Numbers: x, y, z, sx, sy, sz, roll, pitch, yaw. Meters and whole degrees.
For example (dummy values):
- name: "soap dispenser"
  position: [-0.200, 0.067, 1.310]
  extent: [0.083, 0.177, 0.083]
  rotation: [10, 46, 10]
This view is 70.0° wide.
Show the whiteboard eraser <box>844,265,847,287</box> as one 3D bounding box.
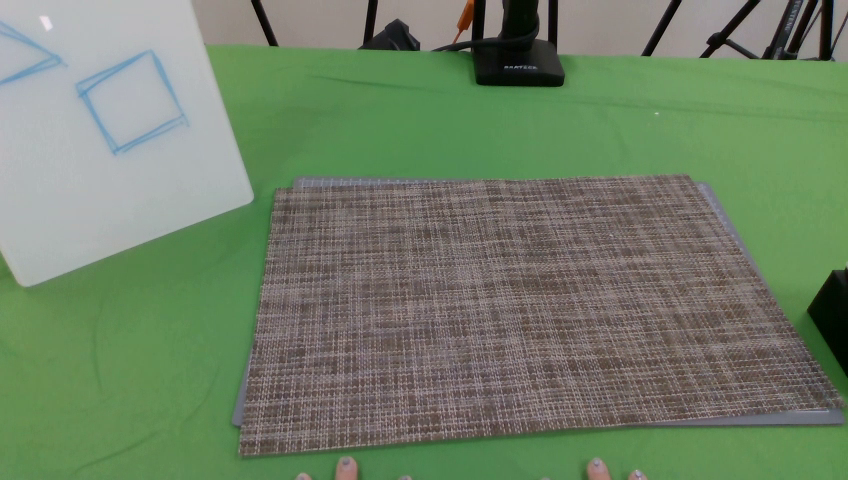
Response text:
- name: "whiteboard eraser"
  position: [0.386, 0.040, 0.458]
  extent: [0.113, 0.042, 0.055]
  rotation: [3, 40, 2]

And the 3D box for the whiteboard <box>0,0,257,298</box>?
- name: "whiteboard"
  position: [-0.321, -0.144, 0.554]
  extent: [0.217, 0.308, 0.142]
  rotation: [-25, 29, -27]
